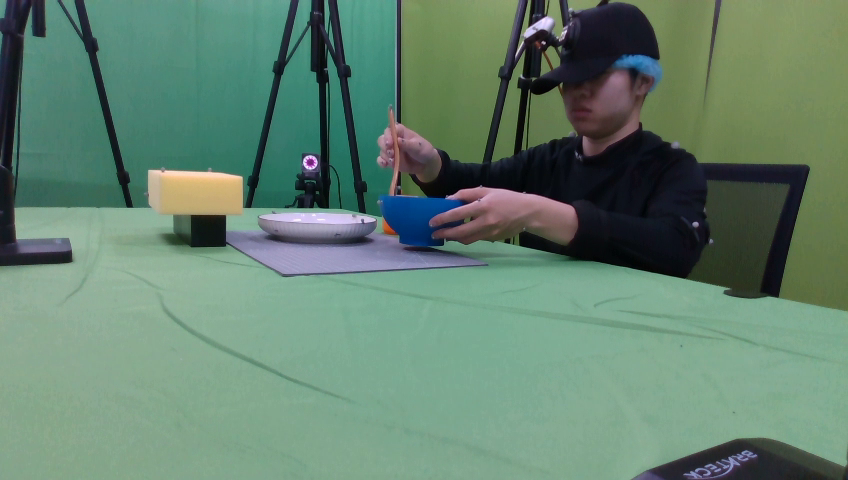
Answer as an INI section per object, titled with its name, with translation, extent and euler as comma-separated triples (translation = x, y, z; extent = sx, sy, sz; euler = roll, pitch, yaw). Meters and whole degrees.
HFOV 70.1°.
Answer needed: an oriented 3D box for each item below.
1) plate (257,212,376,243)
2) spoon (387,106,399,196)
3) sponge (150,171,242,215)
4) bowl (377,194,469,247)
[plate]
translation = -0.189, -0.023, 1.072
extent = 0.209, 0.038, 0.209
euler = 3, 7, 0
[spoon]
translation = -0.048, -0.126, 0.984
extent = 0.021, 0.193, 0.041
euler = -2, -11, 3
[sponge]
translation = -0.379, -0.079, 0.994
extent = 0.119, 0.061, 0.206
euler = -1, 8, -29
[bowl]
translation = -0.003, -0.032, 0.982
extent = 0.151, 0.077, 0.151
euler = 4, 5, 0
